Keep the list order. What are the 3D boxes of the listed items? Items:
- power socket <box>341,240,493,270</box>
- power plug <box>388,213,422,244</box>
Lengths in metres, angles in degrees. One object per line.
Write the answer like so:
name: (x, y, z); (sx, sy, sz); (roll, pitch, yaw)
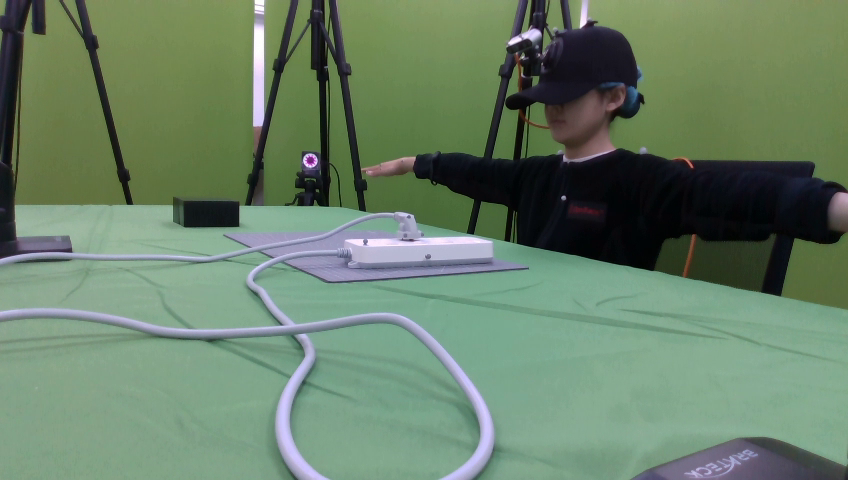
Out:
power socket: (-0.006, 0.018, 0.831); (0.228, 0.032, 0.072); (-1, 6, -29)
power plug: (-0.026, -0.010, 0.848); (0.035, 0.052, 0.072); (2, 9, -17)
